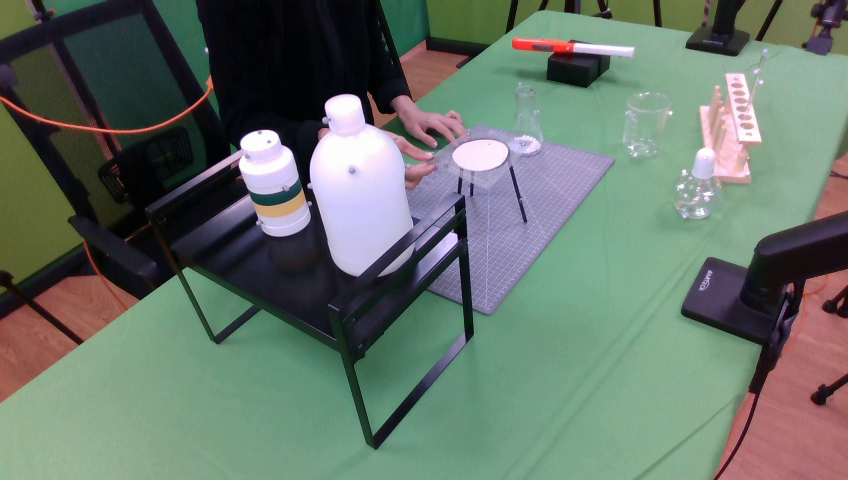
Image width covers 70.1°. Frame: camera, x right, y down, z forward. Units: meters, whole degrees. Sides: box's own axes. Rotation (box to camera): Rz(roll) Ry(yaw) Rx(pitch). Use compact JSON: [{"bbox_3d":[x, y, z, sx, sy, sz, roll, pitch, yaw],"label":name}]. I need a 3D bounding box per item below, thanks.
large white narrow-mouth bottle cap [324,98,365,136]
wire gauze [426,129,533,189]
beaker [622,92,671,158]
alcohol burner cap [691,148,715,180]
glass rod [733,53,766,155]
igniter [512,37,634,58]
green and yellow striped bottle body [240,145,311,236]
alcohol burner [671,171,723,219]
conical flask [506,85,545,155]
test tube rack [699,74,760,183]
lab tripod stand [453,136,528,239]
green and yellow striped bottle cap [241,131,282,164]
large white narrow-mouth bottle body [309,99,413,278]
[{"bbox_3d":[-0.076,-0.119,0.586,0.038,0.024,0.037,-3,42,3],"label":"large white narrow-mouth bottle cap"},{"bbox_3d":[0.085,-0.131,0.924,0.124,0.011,0.122,25,52,34],"label":"wire gauze"},{"bbox_3d":[0.402,-0.210,1.106,0.074,0.101,0.083,-9,40,-2],"label":"beaker"},{"bbox_3d":[0.432,-0.120,0.930,0.034,0.048,0.033,-7,48,8],"label":"alcohol burner cap"},{"bbox_3d":[0.540,-0.220,1.006,0.008,0.201,0.008,-5,45,6],"label":"glass rod"},{"bbox_3d":[0.328,-0.433,1.360,0.275,0.025,0.057,12,33,20],"label":"igniter"},{"bbox_3d":[-0.181,-0.068,0.729,0.063,0.120,0.063,-4,40,4],"label":"green and yellow striped bottle body"},{"bbox_3d":[0.434,-0.093,0.955,0.078,0.119,0.077,-3,43,3],"label":"alcohol burner"},{"bbox_3d":[0.190,-0.227,1.134,0.075,0.122,0.075,-4,41,4],"label":"conical flask"},{"bbox_3d":[0.547,-0.208,1.095,0.066,0.085,0.242,6,42,16],"label":"test tube rack"},{"bbox_3d":[0.094,-0.086,0.974,0.148,0.132,0.147,-4,43,4],"label":"lab tripod stand"},{"bbox_3d":[-0.187,-0.107,0.695,0.045,0.020,0.045,-3,39,3],"label":"green and yellow striped bottle cap"},{"bbox_3d":[-0.069,-0.057,0.644,0.102,0.195,0.101,-3,42,4],"label":"large white narrow-mouth bottle body"}]
